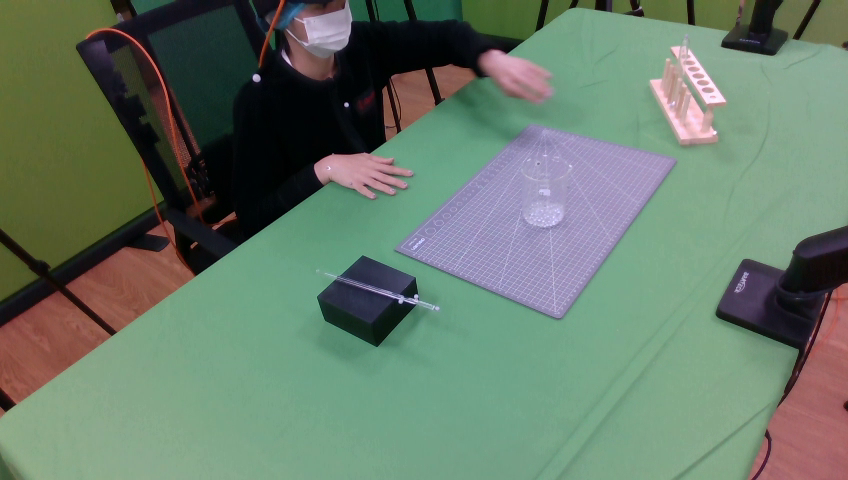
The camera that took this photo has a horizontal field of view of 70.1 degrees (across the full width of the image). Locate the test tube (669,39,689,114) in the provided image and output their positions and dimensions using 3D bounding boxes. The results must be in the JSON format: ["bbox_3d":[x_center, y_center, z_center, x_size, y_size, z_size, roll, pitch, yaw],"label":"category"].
[{"bbox_3d":[0.482,-0.308,1.146,0.017,0.151,0.017,-5,42,5],"label":"test tube"}]

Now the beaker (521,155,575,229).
[{"bbox_3d":[0.197,-0.075,0.969,0.084,0.101,0.073,-6,40,2],"label":"beaker"}]

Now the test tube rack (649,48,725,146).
[{"bbox_3d":[0.508,-0.285,1.186,0.067,0.085,0.241,-4,40,6],"label":"test tube rack"}]

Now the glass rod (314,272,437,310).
[{"bbox_3d":[-0.072,0.069,0.837,0.198,0.008,0.008,14,44,24],"label":"glass rod"}]
